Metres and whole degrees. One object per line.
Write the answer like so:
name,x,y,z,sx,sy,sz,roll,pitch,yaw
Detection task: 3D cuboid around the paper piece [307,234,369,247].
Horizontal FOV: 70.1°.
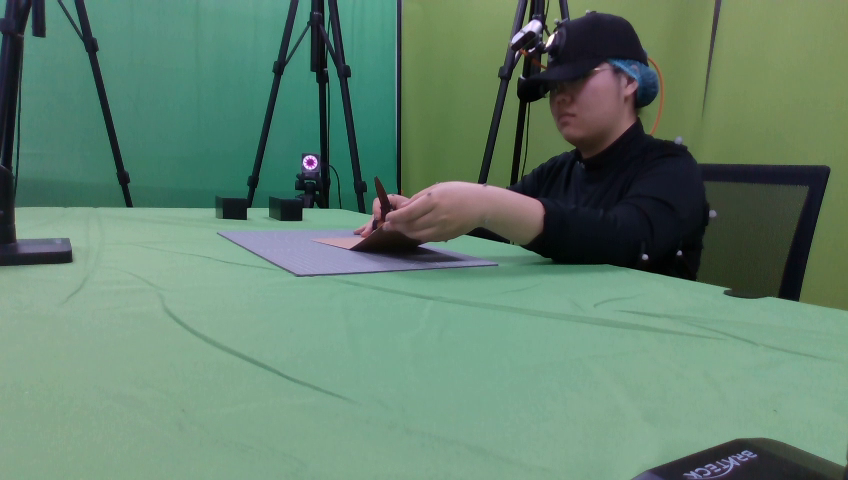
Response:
paper piece,-0.107,0.001,1.026,0.136,0.004,0.134,-3,9,-39

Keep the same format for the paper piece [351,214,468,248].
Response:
paper piece,-0.024,-0.011,0.927,0.137,0.008,0.137,-3,-18,-40

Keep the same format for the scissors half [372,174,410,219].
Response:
scissors half,-0.060,-0.064,1.075,0.040,0.013,0.176,-26,-35,4

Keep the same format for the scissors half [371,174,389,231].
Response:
scissors half,-0.079,-0.059,1.074,0.040,0.175,0.012,-12,54,-6
